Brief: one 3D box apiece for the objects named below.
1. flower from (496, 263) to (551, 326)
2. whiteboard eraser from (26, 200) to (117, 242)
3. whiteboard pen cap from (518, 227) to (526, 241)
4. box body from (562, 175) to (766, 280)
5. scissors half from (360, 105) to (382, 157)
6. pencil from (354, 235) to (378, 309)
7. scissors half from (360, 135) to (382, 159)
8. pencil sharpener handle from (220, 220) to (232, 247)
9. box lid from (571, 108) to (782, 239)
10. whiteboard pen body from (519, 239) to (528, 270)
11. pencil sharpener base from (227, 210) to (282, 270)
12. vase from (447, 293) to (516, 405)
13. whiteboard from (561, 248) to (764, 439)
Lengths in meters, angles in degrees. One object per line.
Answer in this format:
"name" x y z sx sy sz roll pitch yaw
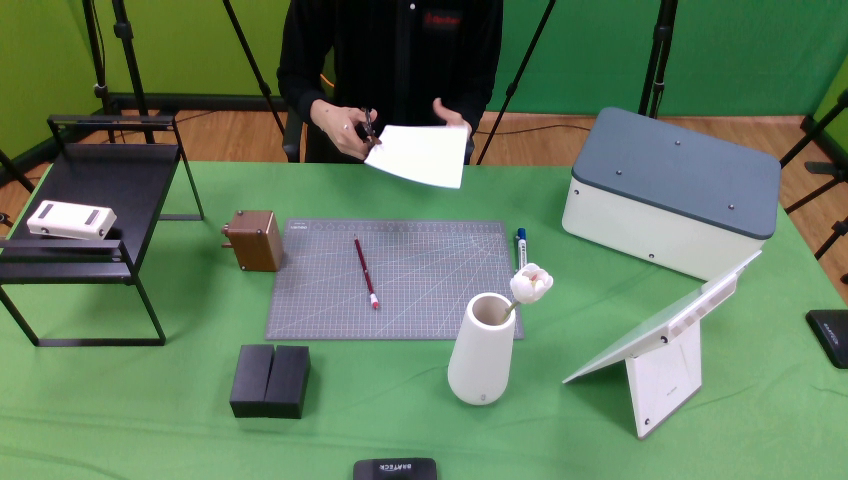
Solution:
"flower" 0.102 0.121 0.853 0.044 0.363 0.038 -2 64 -10
"whiteboard eraser" -0.532 -0.026 0.919 0.113 0.042 0.055 7 45 3
"whiteboard pen cap" 0.197 -0.009 1.220 0.018 0.018 0.033 6 51 1
"box body" 0.486 -0.088 1.222 0.363 0.161 0.253 20 48 15
"scissors half" -0.090 -0.186 1.036 0.013 0.040 0.174 -8 40 -13
"pencil" -0.113 0.055 1.143 0.012 0.012 0.192 -10 46 -13
"scissors half" -0.091 -0.163 1.045 0.013 0.040 0.175 -3 4 -15
"pencil sharpener handle" -0.362 -0.009 1.105 0.030 0.068 0.036 1 53 1
"box lid" 0.491 -0.139 1.168 0.370 0.015 0.262 21 49 15
"whiteboard pen body" 0.193 0.035 1.180 0.017 0.017 0.140 6 48 1
"pencil sharpener base" -0.311 0.001 1.112 0.077 0.107 0.061 1 47 1
"vase" 0.091 0.169 0.921 0.098 0.201 0.097 3 47 -3
"whiteboard" 0.386 0.176 0.905 0.217 0.306 0.143 -26 72 -27
